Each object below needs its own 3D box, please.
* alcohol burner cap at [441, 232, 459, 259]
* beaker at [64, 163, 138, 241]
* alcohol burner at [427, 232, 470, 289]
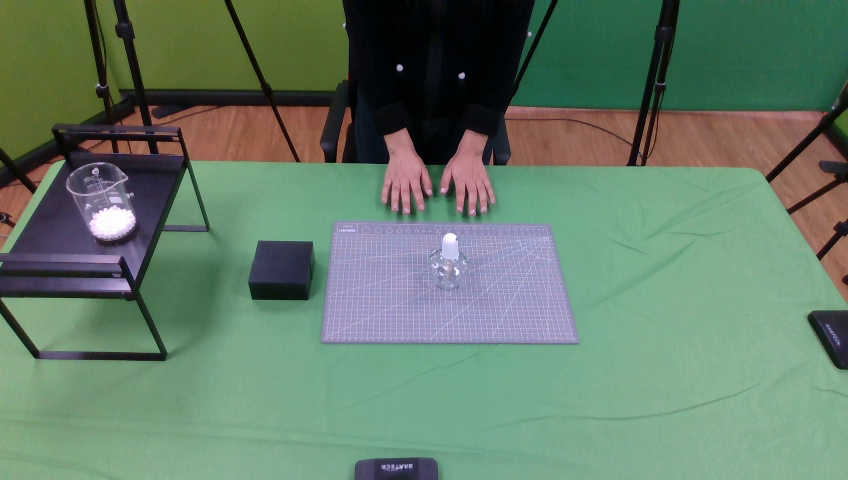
[{"bbox_3d":[0.046,0.007,1.075,0.034,0.048,0.033,0,43,0],"label":"alcohol burner cap"},{"bbox_3d":[-0.477,-0.055,0.910,0.084,0.101,0.073,-9,48,-13],"label":"beaker"},{"bbox_3d":[0.045,0.032,1.099,0.078,0.120,0.077,0,46,0],"label":"alcohol burner"}]
